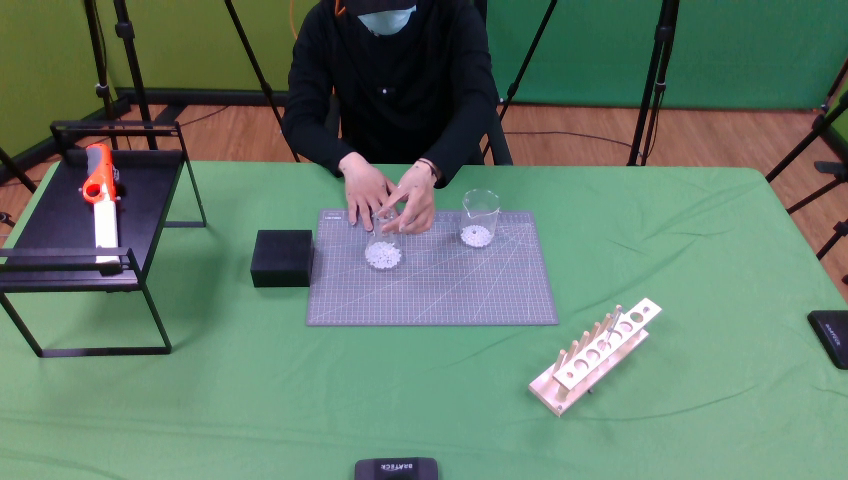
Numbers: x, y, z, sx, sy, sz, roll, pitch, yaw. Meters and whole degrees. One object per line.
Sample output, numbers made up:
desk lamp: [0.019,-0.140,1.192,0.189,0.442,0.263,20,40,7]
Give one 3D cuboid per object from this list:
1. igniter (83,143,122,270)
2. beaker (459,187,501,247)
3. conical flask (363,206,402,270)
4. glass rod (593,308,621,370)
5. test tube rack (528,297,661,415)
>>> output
igniter: [-0.508,-0.063,0.962,0.057,0.025,0.274,-14,53,-18]
beaker: [0.106,-0.039,1.187,0.074,0.101,0.084,22,50,17]
conical flask: [-0.076,-0.007,1.125,0.075,0.122,0.075,2,46,-2]
glass rod: [0.278,0.156,0.934,0.008,0.201,0.008,-1,54,1]
test tube rack: [0.285,0.178,1.005,0.242,0.085,0.066,-31,55,-29]
